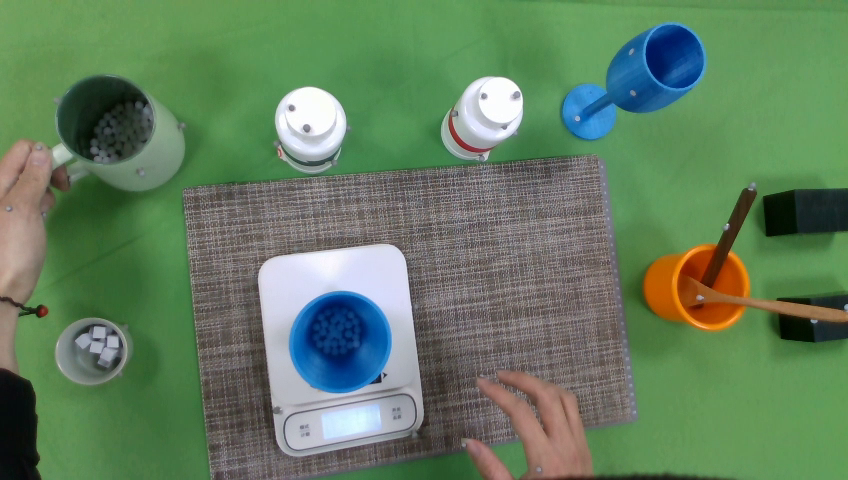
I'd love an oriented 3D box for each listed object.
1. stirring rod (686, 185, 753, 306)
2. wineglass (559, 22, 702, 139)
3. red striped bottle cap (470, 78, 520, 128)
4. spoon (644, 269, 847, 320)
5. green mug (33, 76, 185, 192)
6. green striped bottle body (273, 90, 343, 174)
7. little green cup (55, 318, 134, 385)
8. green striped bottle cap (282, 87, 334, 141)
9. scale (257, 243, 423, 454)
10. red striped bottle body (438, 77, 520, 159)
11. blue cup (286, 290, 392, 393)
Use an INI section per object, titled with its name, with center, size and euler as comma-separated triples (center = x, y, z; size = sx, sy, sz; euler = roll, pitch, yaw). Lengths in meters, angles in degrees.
[stirring rod]
center = 0.308, 0.012, 0.639
size = 0.014, 0.178, 0.005
euler = 1, 45, 2
[wineglass]
center = 0.201, -0.154, 0.615
size = 0.074, 0.172, 0.073
euler = 1, 85, -10
[red striped bottle cap]
center = 0.066, -0.127, 0.559
size = 0.045, 0.018, 0.044
euler = 1, 83, -10
[spoon]
center = 0.333, 0.063, 0.640
size = 0.022, 0.192, 0.041
euler = 6, 93, -54
[green mug]
center = -0.288, -0.085, 0.549
size = 0.125, 0.105, 0.092
euler = -35, 93, -11
[green striped bottle body]
center = -0.110, -0.104, 0.577
size = 0.063, 0.119, 0.063
euler = 1, 86, -11
[little green cup]
center = -0.304, 0.102, 0.567
size = 0.062, 0.038, 0.061
euler = 1, 87, -12
[green striped bottle cap]
center = -0.100, -0.109, 0.523
size = 0.044, 0.020, 0.044
euler = 1, 86, -10
[scale]
center = -0.083, 0.108, 0.610
size = 0.149, 0.031, 0.200
euler = -7, 88, -11
[red striped bottle body]
center = 0.056, -0.123, 0.612
size = 0.063, 0.119, 0.063
euler = 1, 86, -11
[blue cup]
center = -0.078, 0.085, 0.546
size = 0.093, 0.100, 0.092
euler = 0, 88, -11
